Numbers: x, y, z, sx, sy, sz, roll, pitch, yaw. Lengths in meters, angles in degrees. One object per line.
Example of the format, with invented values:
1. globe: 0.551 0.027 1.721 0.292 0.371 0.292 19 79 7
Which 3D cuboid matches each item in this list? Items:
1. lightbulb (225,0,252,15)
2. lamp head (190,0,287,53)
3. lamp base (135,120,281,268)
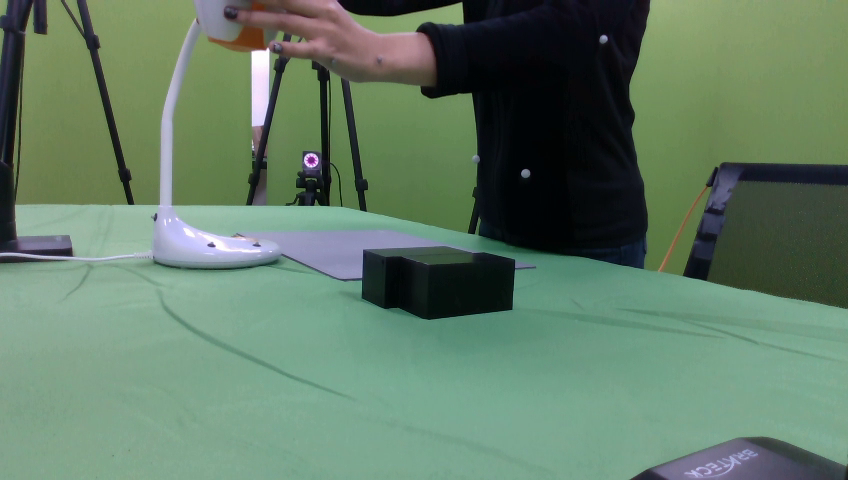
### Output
1. lightbulb: -0.177 -0.279 0.597 0.059 0.107 0.059 13 15 -3
2. lamp head: -0.189 -0.253 0.607 0.112 0.123 0.112 10 20 -3
3. lamp base: -0.276 -0.061 0.773 0.180 0.180 0.160 -9 13 -44
